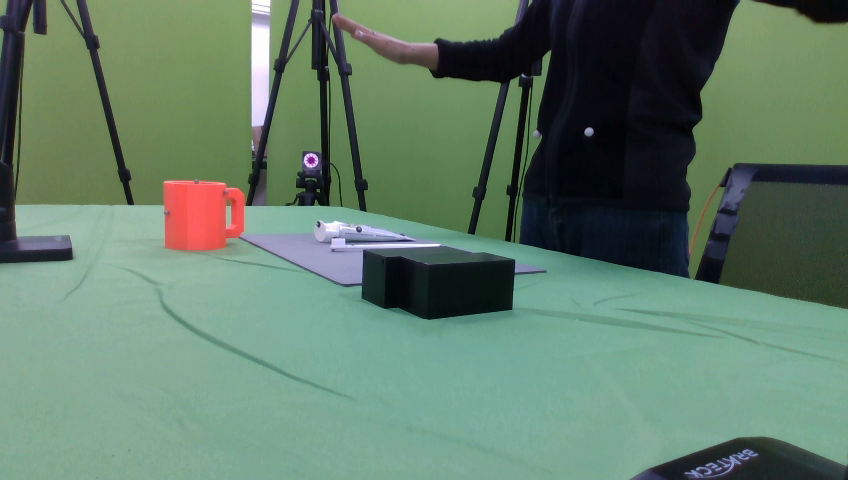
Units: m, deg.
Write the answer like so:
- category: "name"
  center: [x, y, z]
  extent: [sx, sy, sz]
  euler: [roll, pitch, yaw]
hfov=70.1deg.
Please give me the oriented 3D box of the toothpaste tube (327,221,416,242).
- category: "toothpaste tube"
  center: [-0.095, -0.012, 1.026]
  extent: [0.166, 0.034, 0.055]
  euler: [2, 13, -33]

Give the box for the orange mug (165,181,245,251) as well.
- category: "orange mug"
  center: [-0.326, -0.040, 0.911]
  extent: [0.083, 0.101, 0.127]
  euler: [8, 14, 37]

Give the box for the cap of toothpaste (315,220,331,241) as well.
- category: "cap of toothpaste"
  center: [-0.164, -0.016, 0.982]
  extent: [0.011, 0.037, 0.037]
  euler: [-8, 12, -43]

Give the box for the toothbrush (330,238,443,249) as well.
- category: "toothbrush"
  center: [-0.054, 0.006, 0.927]
  extent: [0.183, 0.016, 0.014]
  euler: [1, -7, -23]
